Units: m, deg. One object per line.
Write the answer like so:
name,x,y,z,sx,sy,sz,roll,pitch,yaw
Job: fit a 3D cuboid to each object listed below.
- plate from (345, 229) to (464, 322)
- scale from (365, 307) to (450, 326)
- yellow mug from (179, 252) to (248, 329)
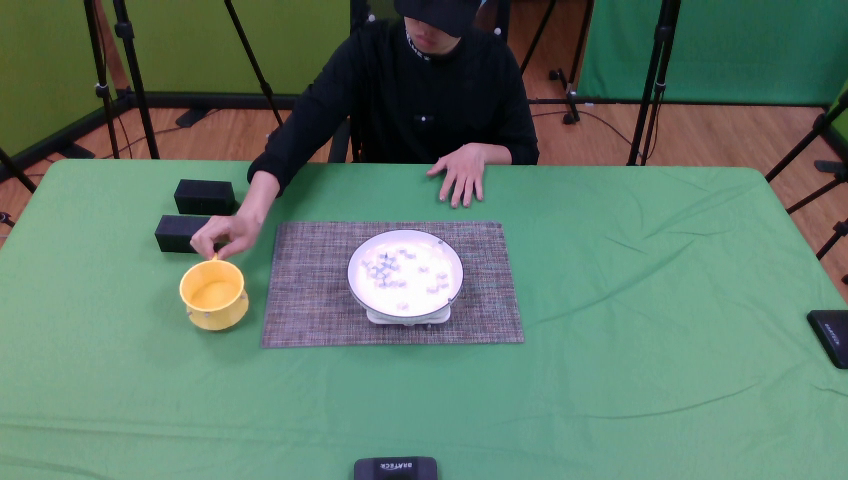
plate,-0.034,0.065,1.073,0.209,0.038,0.208,2,46,-2
scale,-0.032,0.071,1.113,0.149,0.032,0.199,1,46,-4
yellow mug,-0.354,0.079,1.026,0.100,0.064,0.130,-4,54,-11
